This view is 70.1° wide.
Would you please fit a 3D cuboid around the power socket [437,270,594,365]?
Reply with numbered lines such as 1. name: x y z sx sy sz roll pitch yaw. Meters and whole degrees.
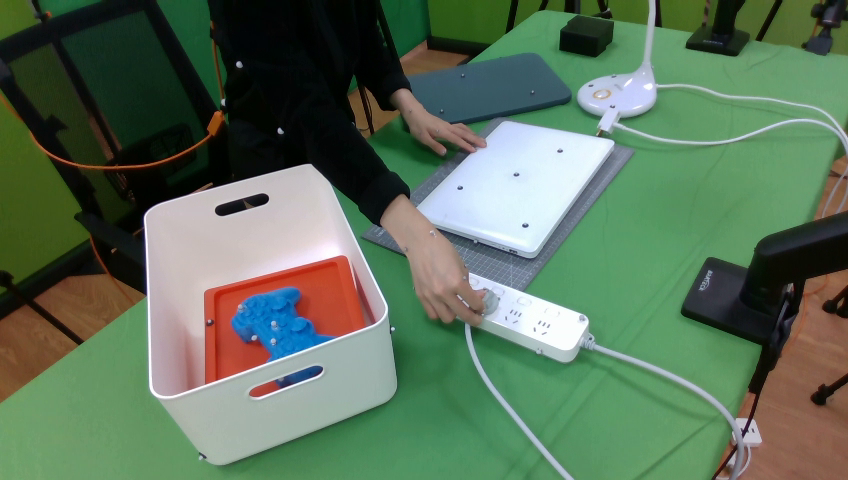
1. power socket: 0.118 0.102 0.830 0.225 0.033 0.072 20 48 28

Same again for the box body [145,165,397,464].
1. box body: -0.205 0.080 0.802 0.255 0.161 0.361 -18 41 -13

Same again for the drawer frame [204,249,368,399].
1. drawer frame: -0.174 0.129 0.791 0.202 0.083 0.212 -16 45 -8

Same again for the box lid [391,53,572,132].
1. box lid: 0.123 -0.339 1.366 0.372 0.015 0.261 -12 40 -5

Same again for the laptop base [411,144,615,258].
1. laptop base: 0.167 -0.102 1.074 0.234 0.023 0.355 16 45 30

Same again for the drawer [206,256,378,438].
1. drawer: -0.177 0.130 0.788 0.195 0.073 0.210 -14 39 -9

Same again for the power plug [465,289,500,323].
1. power plug: 0.071 0.094 0.813 0.073 0.053 0.035 -38 49 -27

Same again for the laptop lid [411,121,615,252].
1. laptop lid: 0.164 -0.112 1.068 0.240 0.013 0.357 19 46 31

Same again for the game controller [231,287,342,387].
1. game controller: -0.167 0.110 0.735 0.097 0.052 0.154 -35 47 -22

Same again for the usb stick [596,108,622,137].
1. usb stick: 0.354 -0.223 1.168 0.027 0.059 0.022 37 12 35

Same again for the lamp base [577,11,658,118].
1. lamp base: 0.406 -0.363 1.223 0.180 0.181 0.159 -20 42 -18
